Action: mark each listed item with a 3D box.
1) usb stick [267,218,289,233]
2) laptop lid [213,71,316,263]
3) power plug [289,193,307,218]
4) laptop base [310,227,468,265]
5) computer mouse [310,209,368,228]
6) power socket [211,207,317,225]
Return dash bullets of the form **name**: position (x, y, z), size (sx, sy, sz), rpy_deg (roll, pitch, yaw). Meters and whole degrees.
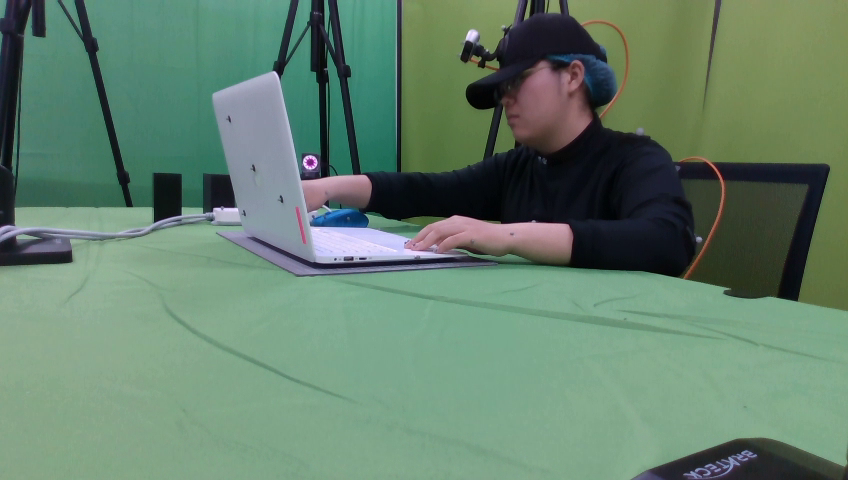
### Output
- **usb stick**: position (-0.274, -0.027, 1.125), size (0.021, 0.027, 0.059), rpy_deg (1, 9, 14)
- **laptop lid**: position (-0.241, -0.104, 0.865), size (0.013, 0.241, 0.355), rpy_deg (-16, 17, -28)
- **power plug**: position (-0.281, -0.076, 1.340), size (0.035, 0.052, 0.072), rpy_deg (4, 5, -17)
- **laptop base**: position (-0.122, 0.007, 0.954), size (0.237, 0.023, 0.352), rpy_deg (2, 6, -31)
- **computer mouse**: position (-0.179, -0.044, 1.275), size (0.118, 0.041, 0.062), rpy_deg (-4, 11, -29)
- **power socket**: position (-0.334, -0.051, 1.282), size (0.228, 0.032, 0.072), rpy_deg (-1, 9, -27)
